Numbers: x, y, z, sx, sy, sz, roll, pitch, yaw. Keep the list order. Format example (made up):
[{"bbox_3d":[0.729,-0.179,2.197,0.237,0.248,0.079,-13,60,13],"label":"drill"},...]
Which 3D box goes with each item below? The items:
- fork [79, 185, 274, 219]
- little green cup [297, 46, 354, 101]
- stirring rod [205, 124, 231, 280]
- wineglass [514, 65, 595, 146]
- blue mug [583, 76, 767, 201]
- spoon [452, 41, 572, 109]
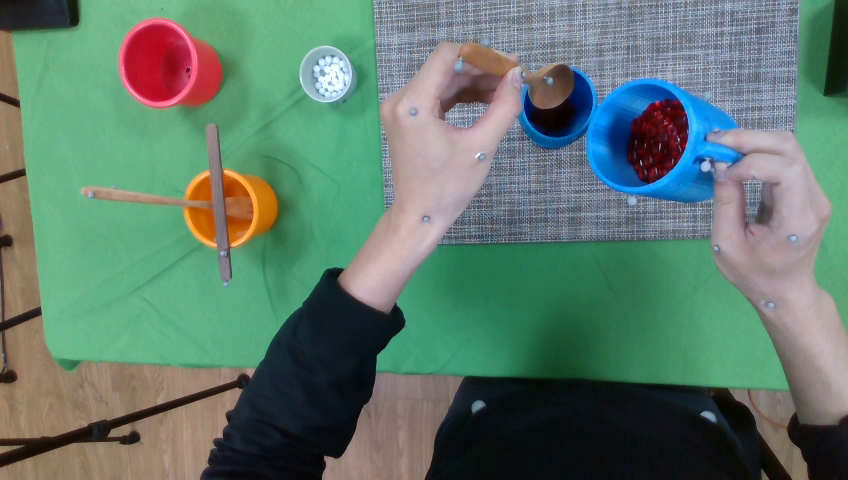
[{"bbox_3d":[-0.274,-0.044,0.691,0.209,0.018,0.028,5,108,-35],"label":"fork"},{"bbox_3d":[-0.111,-0.189,0.699,0.061,0.038,0.061,1,99,10],"label":"little green cup"},{"bbox_3d":[-0.232,-0.042,0.681,0.014,0.006,0.176,-1,97,11],"label":"stirring rod"},{"bbox_3d":[0.126,-0.128,0.596,0.073,0.172,0.074,1,97,10],"label":"wineglass"},{"bbox_3d":[0.197,-0.070,0.460,0.115,0.106,0.082,23,105,41],"label":"blue mug"},{"bbox_3d":[0.071,-0.122,0.442,0.021,0.194,0.042,43,114,17],"label":"spoon"}]
